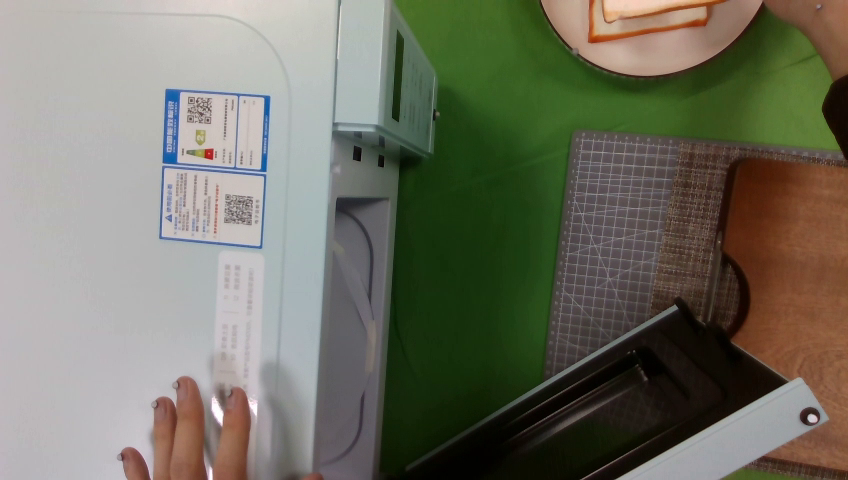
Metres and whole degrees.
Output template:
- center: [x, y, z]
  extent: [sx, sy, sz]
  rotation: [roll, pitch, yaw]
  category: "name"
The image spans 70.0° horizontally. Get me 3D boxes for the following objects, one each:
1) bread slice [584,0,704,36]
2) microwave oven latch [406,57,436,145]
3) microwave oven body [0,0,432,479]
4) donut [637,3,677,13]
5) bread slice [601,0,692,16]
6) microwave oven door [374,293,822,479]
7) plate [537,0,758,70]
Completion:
- center: [0.191, -0.258, 0.545]
  extent: [0.105, 0.019, 0.131]
  rotation: [-8, 95, 7]
  category: "bread slice"
- center: [-0.005, -0.130, 0.566]
  extent: [0.030, 0.029, 0.079]
  rotation: [5, 97, 7]
  category: "microwave oven latch"
- center: [-0.179, 0.041, 0.508]
  extent: [0.325, 0.260, 0.442]
  rotation: [5, 96, 7]
  category: "microwave oven body"
- center: [0.194, -0.246, 0.516]
  extent: [0.099, 0.048, 0.099]
  rotation: [0, 101, 2]
  category: "donut"
- center: [0.187, -0.252, 0.487]
  extent: [0.107, 0.018, 0.134]
  rotation: [-11, 88, 10]
  category: "bread slice"
- center: [0.087, 0.171, 0.479]
  extent: [0.356, 0.244, 0.039]
  rotation: [-34, 89, 9]
  category: "microwave oven door"
- center: [0.198, -0.256, 0.543]
  extent: [0.207, 0.039, 0.208]
  rotation: [1, 95, 8]
  category: "plate"
